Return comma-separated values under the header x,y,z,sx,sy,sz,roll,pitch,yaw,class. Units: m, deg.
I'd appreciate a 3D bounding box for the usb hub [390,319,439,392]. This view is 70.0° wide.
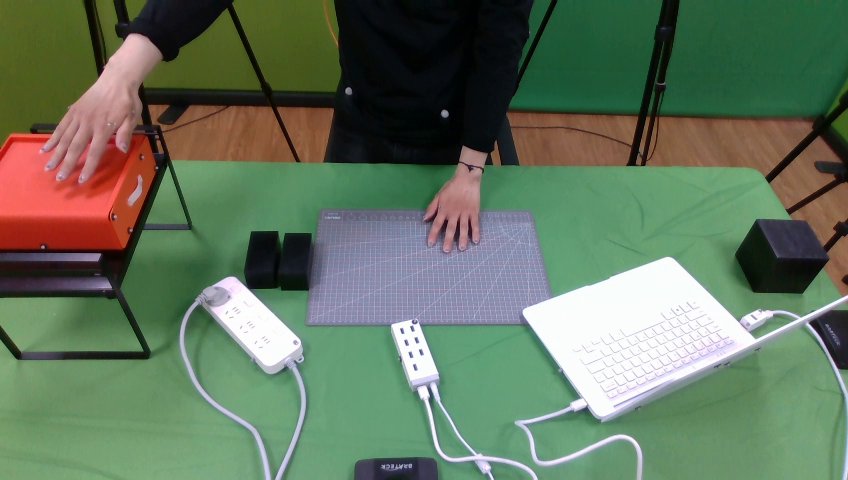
x,y,z,sx,sy,sz,roll,pitch,yaw,class
-0.016,0.190,1.013,0.049,0.025,0.124,-11,48,-15,usb hub

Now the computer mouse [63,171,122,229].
x,y,z,sx,sy,sz,roll,pitch,yaw,class
-0.522,-0.067,0.955,0.063,0.041,0.116,1,49,-10,computer mouse

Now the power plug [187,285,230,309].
x,y,z,sx,sy,sz,roll,pitch,yaw,class
-0.370,0.103,1.039,0.072,0.053,0.035,-25,53,-23,power plug

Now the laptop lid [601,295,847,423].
x,y,z,sx,sy,sz,roll,pitch,yaw,class
0.449,0.179,0.905,0.357,0.242,0.013,-17,64,-20,laptop lid

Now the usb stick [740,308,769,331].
x,y,z,sx,sy,sz,roll,pitch,yaw,class
0.587,0.146,1.088,0.059,0.027,0.021,-21,48,-17,usb stick

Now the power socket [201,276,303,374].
x,y,z,sx,sy,sz,roll,pitch,yaw,class
-0.297,0.141,1.034,0.225,0.033,0.072,37,55,27,power socket

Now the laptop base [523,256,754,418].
x,y,z,sx,sy,sz,roll,pitch,yaw,class
0.380,0.159,1.077,0.355,0.023,0.234,-17,48,-19,laptop base

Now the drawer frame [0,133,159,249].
x,y,z,sx,sy,sz,roll,pitch,yaw,class
-0.553,-0.079,0.942,0.214,0.083,0.200,-1,47,-4,drawer frame

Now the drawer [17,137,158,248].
x,y,z,sx,sy,sz,roll,pitch,yaw,class
-0.549,-0.078,0.944,0.212,0.073,0.193,0,47,-3,drawer
